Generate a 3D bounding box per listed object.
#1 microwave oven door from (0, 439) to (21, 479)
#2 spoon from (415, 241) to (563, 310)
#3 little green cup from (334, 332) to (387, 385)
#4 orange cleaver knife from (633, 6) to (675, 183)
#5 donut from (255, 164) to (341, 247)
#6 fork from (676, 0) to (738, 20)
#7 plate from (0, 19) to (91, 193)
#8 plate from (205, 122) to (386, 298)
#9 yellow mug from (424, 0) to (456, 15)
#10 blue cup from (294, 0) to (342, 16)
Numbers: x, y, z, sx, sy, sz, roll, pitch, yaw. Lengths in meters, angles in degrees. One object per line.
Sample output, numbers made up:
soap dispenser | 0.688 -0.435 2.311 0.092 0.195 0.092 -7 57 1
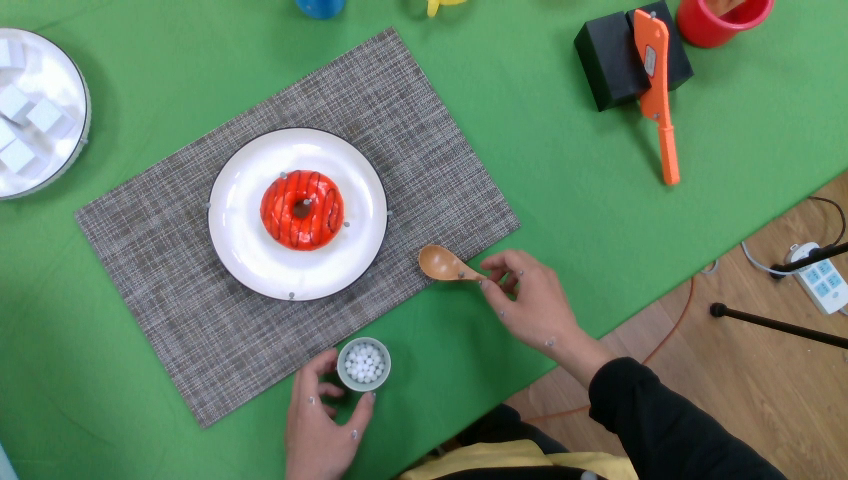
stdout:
microwave oven door | -0.468 0.246 0.559 0.039 0.244 0.355 -30 86 -5
spoon | 0.080 0.048 0.731 0.194 0.022 0.041 21 67 -2
little green cup | -0.072 0.138 0.709 0.061 0.039 0.061 0 83 0
orange cleaver knife | 0.277 -0.173 0.734 0.012 0.076 0.213 -17 115 -2
donut | -0.146 -0.040 0.708 0.099 0.048 0.099 0 87 -2
fork | 0.409 -0.303 0.721 0.206 0.019 0.028 -8 81 38
plate | -0.496 -0.155 0.716 0.208 0.039 0.207 0 84 -3
plate | -0.149 -0.035 0.718 0.209 0.038 0.208 0 85 -3
yellow mug | 0.022 -0.342 0.745 0.100 0.064 0.130 16 85 -1
blue cup | -0.130 -0.316 0.718 0.093 0.100 0.092 0 85 -4
